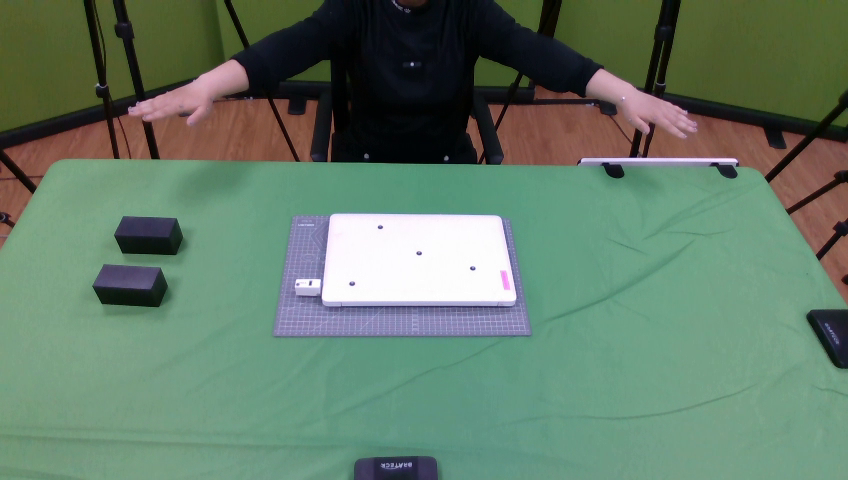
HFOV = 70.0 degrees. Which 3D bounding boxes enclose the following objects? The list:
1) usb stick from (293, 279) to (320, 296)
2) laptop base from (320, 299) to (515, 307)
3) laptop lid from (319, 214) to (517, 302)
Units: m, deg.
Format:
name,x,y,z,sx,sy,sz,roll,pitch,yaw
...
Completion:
name,x,y,z,sx,sy,sz,roll,pitch,yaw
usb stick,-0.202,0.086,1.083,0.059,0.027,0.021,3,46,-5
laptop base,-0.013,0.039,1.160,0.355,0.023,0.234,0,43,-4
laptop lid,-0.013,0.029,1.154,0.357,0.013,0.240,2,43,-3
